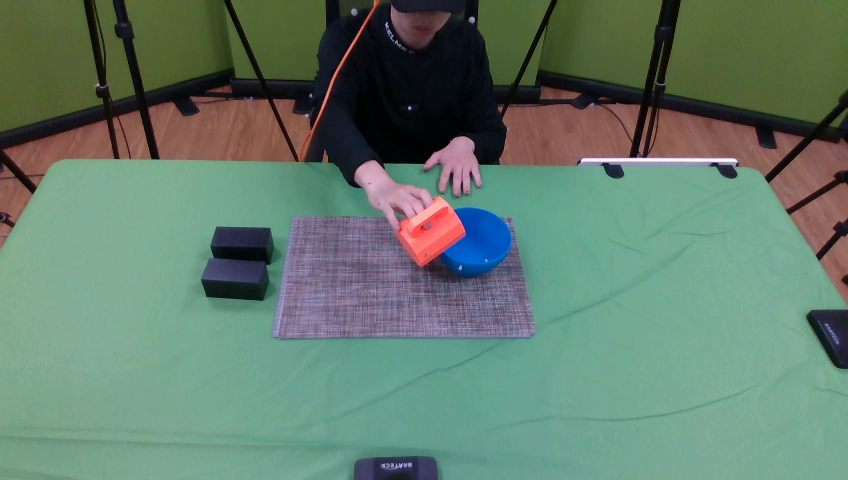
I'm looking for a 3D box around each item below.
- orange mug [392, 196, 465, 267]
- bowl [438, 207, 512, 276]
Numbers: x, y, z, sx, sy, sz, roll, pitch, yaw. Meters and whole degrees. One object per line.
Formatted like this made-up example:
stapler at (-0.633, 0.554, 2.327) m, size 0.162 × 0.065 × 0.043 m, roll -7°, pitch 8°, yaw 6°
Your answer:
orange mug at (0.008, -0.022, 1.034) m, size 0.101 × 0.126 × 0.083 m, roll -34°, pitch 73°, yaw -14°
bowl at (0.086, 0.016, 1.146) m, size 0.151 × 0.077 × 0.150 m, roll 2°, pitch 46°, yaw -2°
